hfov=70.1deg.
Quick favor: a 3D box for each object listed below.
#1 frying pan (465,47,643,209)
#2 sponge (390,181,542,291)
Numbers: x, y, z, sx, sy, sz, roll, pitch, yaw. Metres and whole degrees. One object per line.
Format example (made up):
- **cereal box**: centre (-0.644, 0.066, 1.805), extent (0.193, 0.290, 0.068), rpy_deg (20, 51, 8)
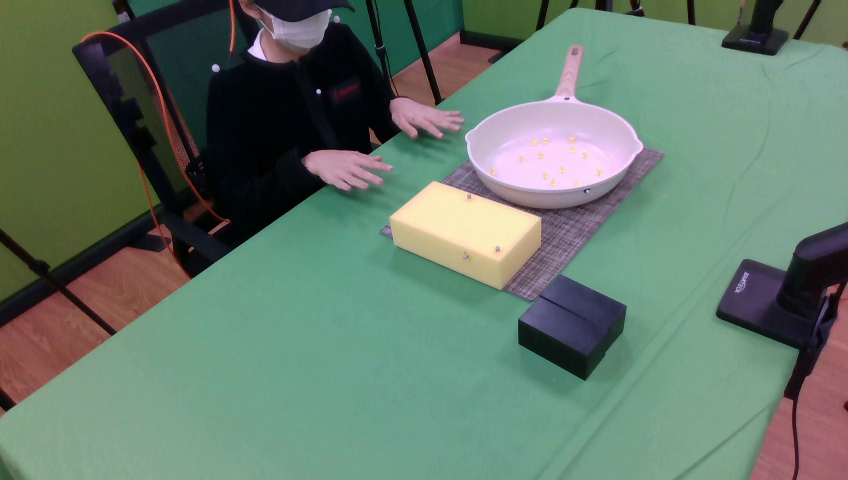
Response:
- **frying pan**: centre (0.255, -0.228, 1.135), extent (0.305, 0.103, 0.487), rpy_deg (9, 51, 17)
- **sponge**: centre (0.065, -0.013, 0.945), extent (0.205, 0.061, 0.118), rpy_deg (22, 49, 30)
